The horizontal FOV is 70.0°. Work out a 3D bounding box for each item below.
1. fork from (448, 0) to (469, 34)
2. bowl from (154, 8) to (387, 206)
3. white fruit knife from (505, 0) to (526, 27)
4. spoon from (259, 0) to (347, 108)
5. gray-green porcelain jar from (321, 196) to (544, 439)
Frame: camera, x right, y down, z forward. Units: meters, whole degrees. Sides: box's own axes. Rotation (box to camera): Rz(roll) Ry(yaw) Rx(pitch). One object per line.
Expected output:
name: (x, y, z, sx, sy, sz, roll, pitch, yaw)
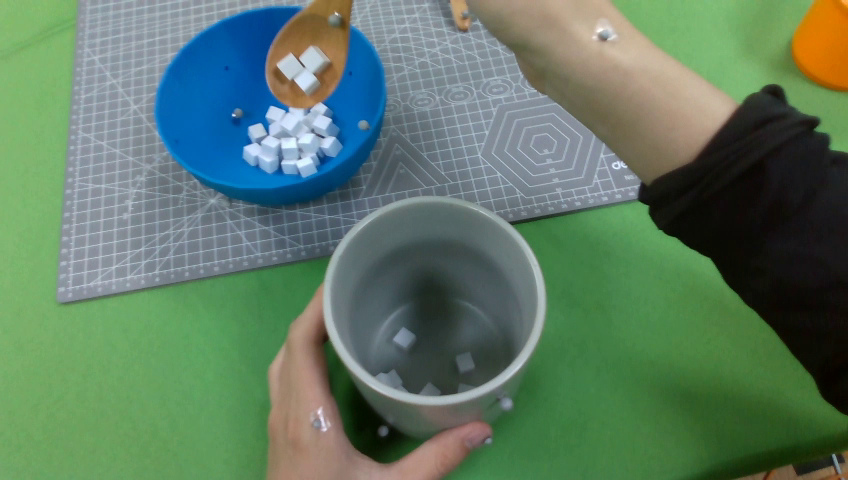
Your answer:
fork: (0.009, -0.275, 0.517, 0.028, 0.018, 0.206, -13, 83, -10)
bowl: (-0.098, -0.079, 0.426, 0.151, 0.077, 0.150, -1, 64, 2)
white fruit knife: (0.058, -0.282, 0.521, 0.016, 0.027, 0.206, -11, 78, -5)
spoon: (-0.030, -0.145, 0.298, 0.042, 0.194, 0.021, 35, 34, -8)
gray-green porcelain jar: (0.007, 0.051, 0.338, 0.106, 0.127, 0.105, -1, 64, 2)
